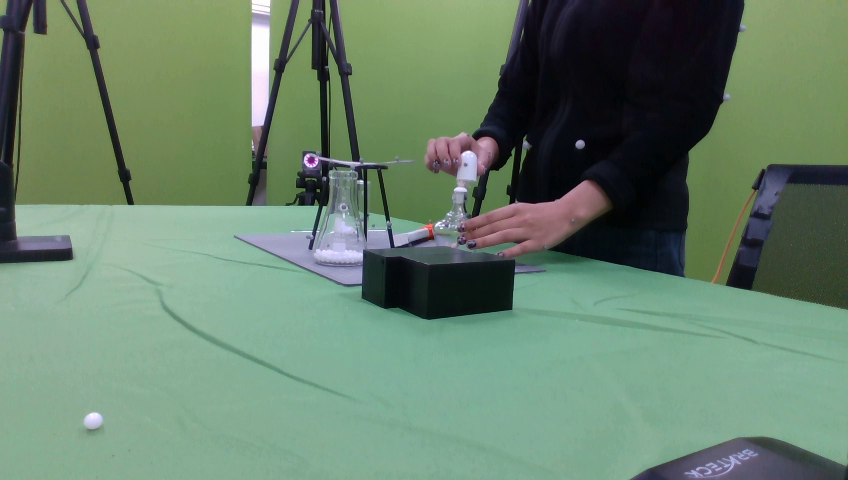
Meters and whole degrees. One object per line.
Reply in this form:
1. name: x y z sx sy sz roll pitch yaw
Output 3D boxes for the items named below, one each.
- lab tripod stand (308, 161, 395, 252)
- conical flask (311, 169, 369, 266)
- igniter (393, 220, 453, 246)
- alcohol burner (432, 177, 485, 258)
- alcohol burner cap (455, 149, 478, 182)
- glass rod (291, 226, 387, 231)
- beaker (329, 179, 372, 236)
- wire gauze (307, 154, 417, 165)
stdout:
1. lab tripod stand: -0.098 -0.053 0.919 0.148 0.131 0.148 4 7 0
2. conical flask: -0.107 -0.031 0.786 0.075 0.122 0.075 2 8 0
3. igniter: 0.003 -0.015 1.083 0.057 0.025 0.277 -13 2 18
4. alcohol burner: 0.052 -0.033 0.894 0.078 0.119 0.078 2 10 0
5. alcohol burner cap: 0.065 -0.112 0.899 0.034 0.048 0.034 8 0 0
6. glass rod: -0.161 -0.023 1.177 0.201 0.008 0.008 -2 8 -29
7. beaker: -0.137 -0.061 1.101 0.084 0.100 0.074 4 7 21
8. wire gauze: -0.094 -0.120 0.913 0.122 0.011 0.124 -5 11 -45
